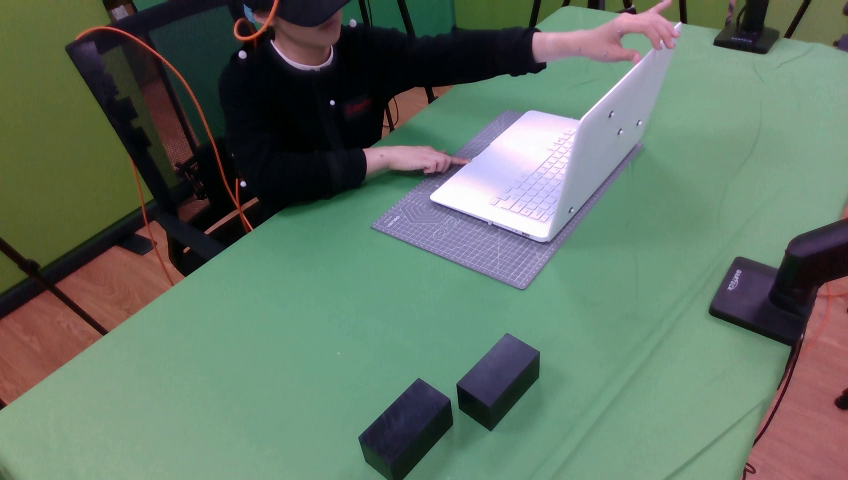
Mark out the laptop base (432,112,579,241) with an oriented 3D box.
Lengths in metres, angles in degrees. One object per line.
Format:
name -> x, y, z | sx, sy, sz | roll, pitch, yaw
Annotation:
laptop base -> 0.208, -0.129, 1.098 | 0.233, 0.023, 0.355 | 20, 47, 34

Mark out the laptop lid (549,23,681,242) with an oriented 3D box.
laptop lid -> 0.304, -0.172, 0.951 | 0.013, 0.242, 0.358 | 30, 51, 24
